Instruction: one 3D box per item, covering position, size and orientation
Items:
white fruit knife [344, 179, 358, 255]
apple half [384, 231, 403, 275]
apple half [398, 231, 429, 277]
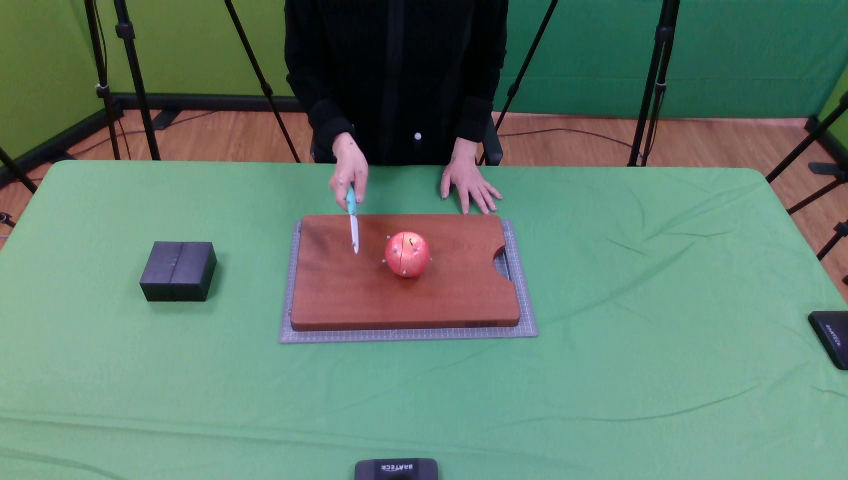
[{"bbox_3d":[-0.126,-0.045,1.067,0.016,0.027,0.206,-28,41,13],"label":"white fruit knife"},{"bbox_3d":[-0.056,0.025,1.093,0.033,0.081,0.081,5,46,-2],"label":"apple half"},{"bbox_3d":[-0.018,0.028,1.095,0.053,0.075,0.080,6,42,-4],"label":"apple half"}]
